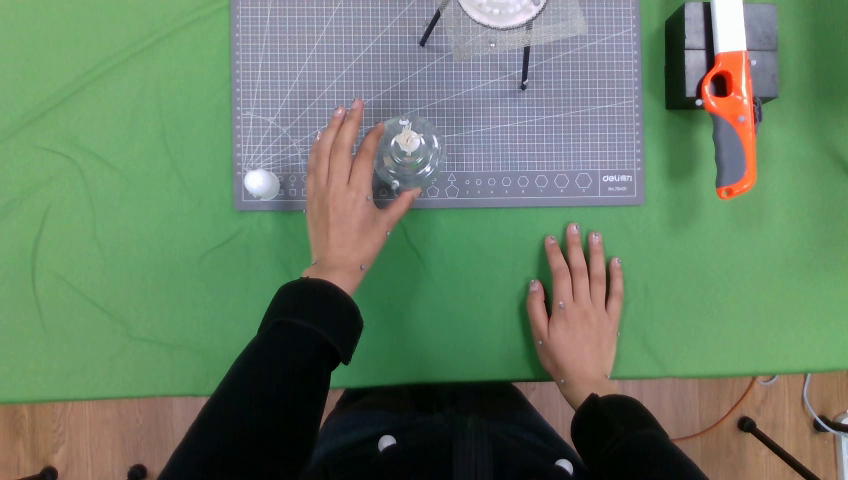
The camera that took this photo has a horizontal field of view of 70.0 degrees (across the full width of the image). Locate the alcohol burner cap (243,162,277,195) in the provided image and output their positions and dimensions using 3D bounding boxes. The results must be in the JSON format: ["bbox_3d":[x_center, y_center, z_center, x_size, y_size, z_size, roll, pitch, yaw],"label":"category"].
[{"bbox_3d":[-0.174,-0.066,0.634,0.034,0.048,0.034,0,89,-3],"label":"alcohol burner cap"}]

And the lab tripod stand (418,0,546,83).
[{"bbox_3d":[0.067,-0.237,0.603,0.148,0.131,0.148,0,87,-1],"label":"lab tripod stand"}]

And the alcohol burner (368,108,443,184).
[{"bbox_3d":[-0.018,-0.096,0.607,0.078,0.119,0.078,0,90,-3],"label":"alcohol burner"}]

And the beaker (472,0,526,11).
[{"bbox_3d":[0.065,-0.237,0.489,0.084,0.100,0.074,-3,87,-2],"label":"beaker"}]

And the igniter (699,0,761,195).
[{"bbox_3d":[0.312,-0.184,0.622,0.057,0.025,0.276,-2,89,9],"label":"igniter"}]

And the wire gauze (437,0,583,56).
[{"bbox_3d":[0.069,-0.232,0.537,0.125,0.011,0.121,-14,90,-5],"label":"wire gauze"}]
